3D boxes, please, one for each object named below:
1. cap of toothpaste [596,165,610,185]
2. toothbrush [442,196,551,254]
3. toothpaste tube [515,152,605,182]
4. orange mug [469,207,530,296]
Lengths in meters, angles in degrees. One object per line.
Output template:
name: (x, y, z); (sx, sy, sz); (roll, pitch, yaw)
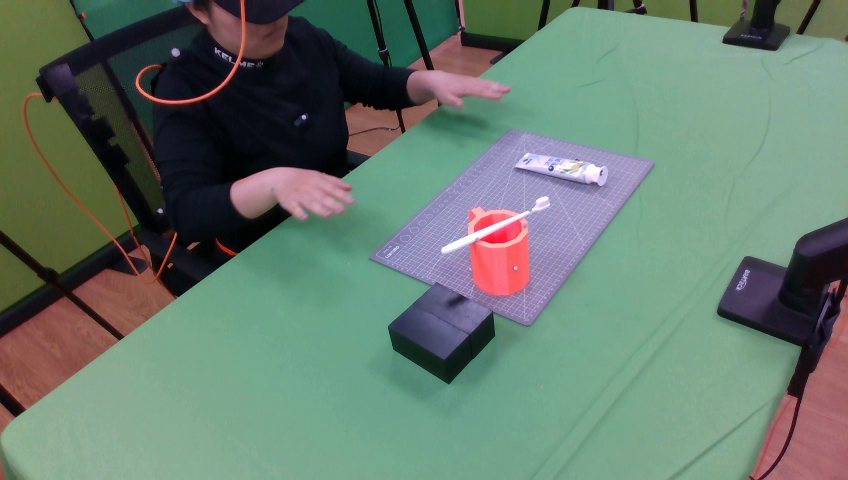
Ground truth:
cap of toothpaste: (0.307, -0.113, 1.041); (0.011, 0.037, 0.037); (20, 48, 39)
toothbrush: (0.104, -0.021, 0.846); (0.182, 0.017, 0.014); (-25, 48, -18)
toothpaste tube: (0.248, -0.133, 1.087); (0.164, 0.034, 0.055); (17, 42, 34)
orange mug: (0.104, 0.008, 0.894); (0.084, 0.101, 0.125); (-22, 46, -14)
